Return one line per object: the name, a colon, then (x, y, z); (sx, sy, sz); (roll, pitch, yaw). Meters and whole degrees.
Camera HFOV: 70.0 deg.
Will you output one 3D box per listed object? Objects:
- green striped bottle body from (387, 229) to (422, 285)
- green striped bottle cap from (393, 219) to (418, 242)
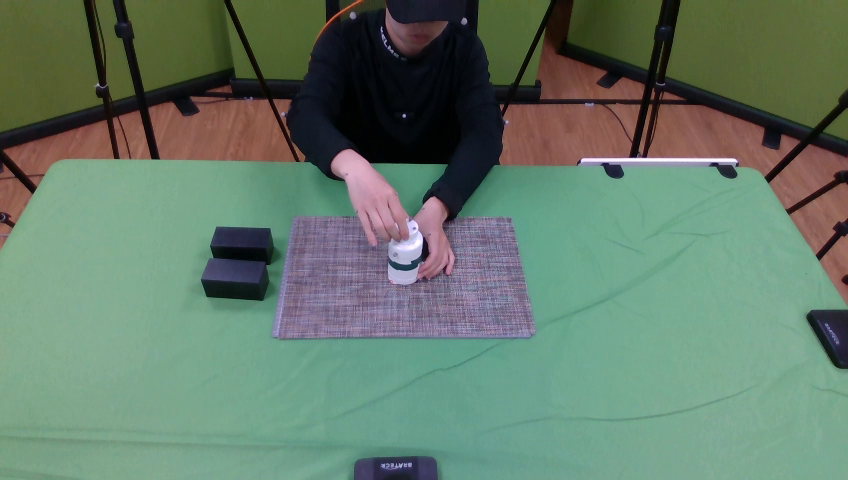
green striped bottle body: (-0.036, 0.021, 1.102); (0.063, 0.120, 0.063); (2, 46, -2)
green striped bottle cap: (-0.033, -0.016, 1.062); (0.044, 0.020, 0.044); (2, 42, -2)
